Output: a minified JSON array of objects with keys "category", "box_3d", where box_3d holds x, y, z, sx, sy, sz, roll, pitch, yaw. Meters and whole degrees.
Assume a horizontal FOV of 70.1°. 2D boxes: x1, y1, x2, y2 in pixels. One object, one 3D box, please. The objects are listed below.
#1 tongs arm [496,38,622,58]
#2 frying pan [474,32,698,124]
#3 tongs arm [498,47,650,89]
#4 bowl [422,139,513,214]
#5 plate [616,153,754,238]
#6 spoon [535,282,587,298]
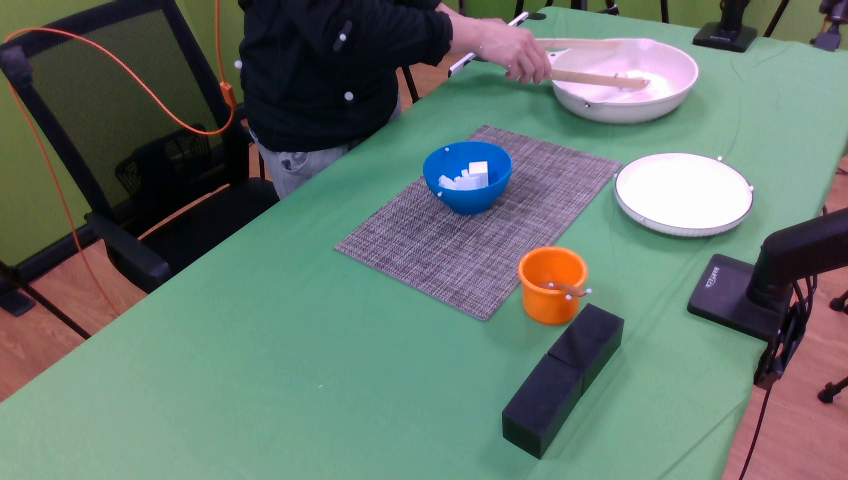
[{"category":"tongs arm","box_3d":[0.273,-0.376,1.177,0.390,0.027,0.028,-15,72,-39]},{"category":"frying pan","box_3d":[0.320,-0.371,1.290,0.485,0.103,0.307,27,50,22]},{"category":"tongs arm","box_3d":[0.299,-0.323,1.154,0.388,0.026,0.050,-7,63,-36]},{"category":"bowl","box_3d":[0.076,-0.098,1.021,0.151,0.077,0.150,-4,41,4]},{"category":"plate","box_3d":[0.416,-0.069,0.977,0.207,0.039,0.206,-4,40,4]},{"category":"spoon","box_3d":[0.176,0.063,0.774,0.041,0.194,0.021,-3,85,0]}]
